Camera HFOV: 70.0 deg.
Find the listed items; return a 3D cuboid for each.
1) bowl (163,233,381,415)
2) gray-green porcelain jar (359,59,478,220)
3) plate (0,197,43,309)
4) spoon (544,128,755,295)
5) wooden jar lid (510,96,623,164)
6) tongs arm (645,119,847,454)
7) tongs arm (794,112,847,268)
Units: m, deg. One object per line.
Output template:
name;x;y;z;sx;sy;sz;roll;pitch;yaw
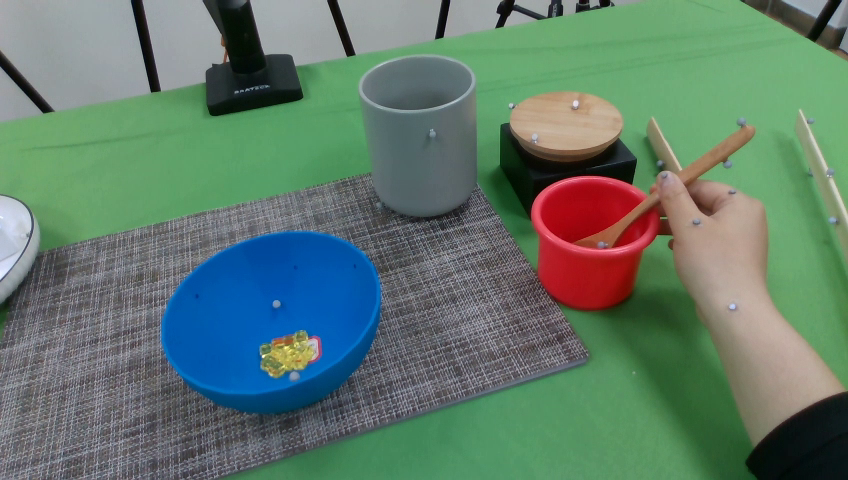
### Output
bowl;-0.101;0.073;0.445;0.151;0.077;0.150;-3;42;3
gray-green porcelain jar;-0.002;-0.091;0.579;0.106;0.128;0.105;-3;42;3
plate;-0.454;0.037;0.551;0.209;0.038;0.207;-3;43;3
spoon;0.173;-0.020;0.477;0.022;0.194;0.041;23;33;-40
wooden jar lid;0.138;-0.108;0.595;0.108;0.021;0.107;-3;42;3
tongs arm;0.260;0.005;0.529;0.028;0.028;0.383;-3;43;-1
tongs arm;0.342;0.003;0.517;0.050;0.027;0.381;4;44;11
